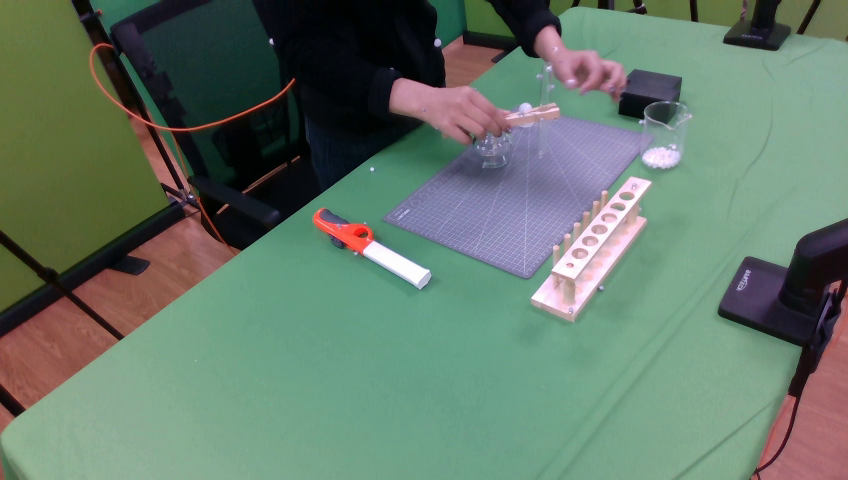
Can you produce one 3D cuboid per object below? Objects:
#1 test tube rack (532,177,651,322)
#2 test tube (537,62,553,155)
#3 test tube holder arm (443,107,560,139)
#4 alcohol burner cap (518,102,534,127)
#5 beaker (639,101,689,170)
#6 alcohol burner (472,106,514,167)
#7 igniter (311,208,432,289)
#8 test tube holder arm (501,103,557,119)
[{"bbox_3d":[0.248,0.003,0.883,0.066,0.085,0.243,22,49,32],"label":"test tube rack"},{"bbox_3d":[0.183,-0.195,0.913,0.017,0.151,0.017,-3,39,3],"label":"test tube"},{"bbox_3d":[0.116,-0.177,0.912,0.178,0.015,0.013,-11,35,0],"label":"test tube holder arm"},{"bbox_3d":[0.205,-0.255,1.223,0.034,0.048,0.033,-6,40,6],"label":"alcohol burner cap"},{"bbox_3d":[0.417,-0.177,1.053,0.074,0.101,0.083,-4,41,7],"label":"beaker"},{"bbox_3d":[0.126,-0.194,1.111,0.078,0.119,0.077,-4,42,4],"label":"alcohol burner"},{"bbox_3d":[-0.096,0.008,0.986,0.274,0.025,0.057,28,62,36],"label":"igniter"},{"bbox_3d":[0.159,-0.190,0.918,0.088,0.015,0.010,-16,35,-6],"label":"test tube holder arm"}]
